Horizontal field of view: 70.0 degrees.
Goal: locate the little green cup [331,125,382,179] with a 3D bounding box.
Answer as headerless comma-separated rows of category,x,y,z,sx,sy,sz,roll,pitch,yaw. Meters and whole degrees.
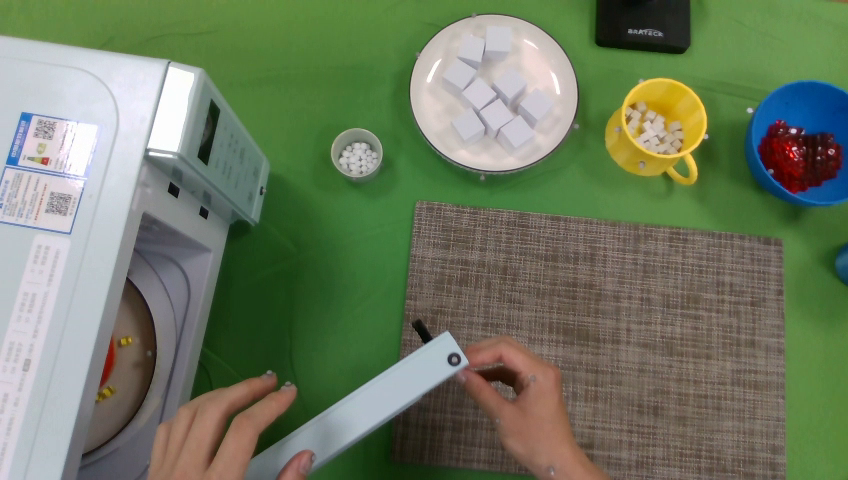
little green cup,-0.080,-0.104,0.731,0.061,0.039,0.061,0,80,-1

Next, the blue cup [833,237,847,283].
blue cup,0.527,0.017,0.689,0.093,0.100,0.092,0,77,-1

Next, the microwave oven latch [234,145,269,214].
microwave oven latch,-0.203,-0.072,0.705,0.030,0.029,0.079,13,80,1

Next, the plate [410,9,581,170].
plate,0.087,-0.183,0.751,0.208,0.039,0.206,0,79,-1

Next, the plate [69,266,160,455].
plate,-0.373,0.115,0.622,0.209,0.038,0.208,0,79,-1

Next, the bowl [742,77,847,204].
bowl,0.444,-0.108,0.724,0.151,0.077,0.150,0,79,-1

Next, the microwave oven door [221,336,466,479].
microwave oven door,-0.123,0.195,0.552,0.356,0.244,0.039,-32,80,-7

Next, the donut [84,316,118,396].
donut,-0.359,0.111,0.609,0.099,0.048,0.098,0,81,-2

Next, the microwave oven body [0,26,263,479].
microwave oven body,-0.376,0.057,0.579,0.326,0.261,0.440,9,80,0

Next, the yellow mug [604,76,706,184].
yellow mug,0.285,-0.125,0.730,0.100,0.064,0.130,-31,82,-7
